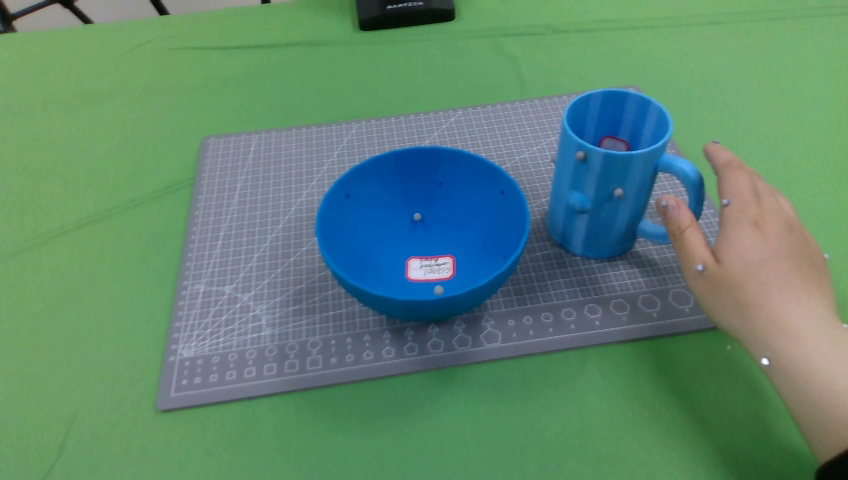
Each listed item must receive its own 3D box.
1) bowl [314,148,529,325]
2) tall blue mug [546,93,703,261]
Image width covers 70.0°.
[{"bbox_3d":[0.000,0.010,0.448,0.151,0.077,0.150,-1,48,2],"label":"bowl"},{"bbox_3d":[0.153,-0.044,0.467,0.107,0.109,0.077,7,48,10],"label":"tall blue mug"}]
